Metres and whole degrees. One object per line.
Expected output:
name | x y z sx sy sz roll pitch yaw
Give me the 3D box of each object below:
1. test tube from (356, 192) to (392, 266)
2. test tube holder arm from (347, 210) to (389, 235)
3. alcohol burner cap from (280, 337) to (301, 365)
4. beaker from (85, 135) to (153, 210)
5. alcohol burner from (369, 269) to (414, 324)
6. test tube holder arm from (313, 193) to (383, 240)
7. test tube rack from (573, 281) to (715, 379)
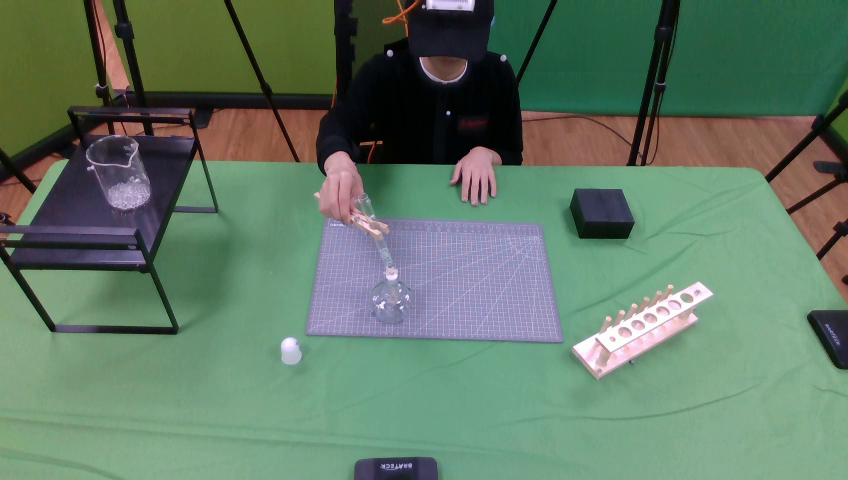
test tube | -0.075 -0.013 0.938 0.017 0.151 0.017 -10 42 9
test tube holder arm | -0.090 -0.029 0.949 0.087 0.015 0.010 21 51 34
alcohol burner cap | -0.220 0.179 0.993 0.034 0.048 0.033 3 46 -2
beaker | -0.475 -0.102 0.957 0.083 0.101 0.074 34 53 26
alcohol burner | -0.056 0.089 1.036 0.078 0.120 0.077 1 48 -1
test tube holder arm | -0.126 -0.041 0.973 0.013 0.015 0.177 -38 46 -27
test tube rack | 0.378 0.140 1.038 0.242 0.085 0.066 -22 51 -23
